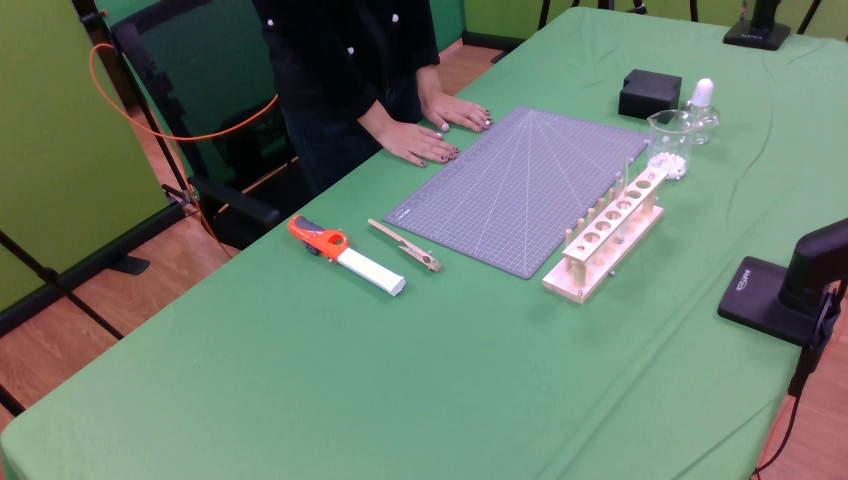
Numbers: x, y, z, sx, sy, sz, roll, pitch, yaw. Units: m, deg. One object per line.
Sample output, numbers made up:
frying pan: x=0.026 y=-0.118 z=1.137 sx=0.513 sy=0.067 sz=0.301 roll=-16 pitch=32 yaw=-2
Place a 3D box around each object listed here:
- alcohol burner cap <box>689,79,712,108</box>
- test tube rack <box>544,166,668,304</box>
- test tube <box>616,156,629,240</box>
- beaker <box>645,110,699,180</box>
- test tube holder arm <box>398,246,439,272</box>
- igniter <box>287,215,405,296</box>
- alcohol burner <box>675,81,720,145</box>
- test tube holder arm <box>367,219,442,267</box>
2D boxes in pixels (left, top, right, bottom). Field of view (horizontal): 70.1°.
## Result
alcohol burner cap: x=0.492 y=-0.262 z=1.071 sx=0.034 sy=0.048 sz=0.033 roll=-2 pitch=45 yaw=2
test tube rack: x=0.274 y=-0.018 z=0.903 sx=0.066 sy=0.085 sz=0.243 roll=26 pitch=51 yaw=35
test tube: x=0.284 y=-0.057 z=0.869 sx=0.017 sy=0.151 sz=0.017 roll=-8 pitch=42 yaw=8
beaker: x=0.417 y=-0.160 z=1.033 sx=0.083 sy=0.101 sz=0.074 roll=25 pitch=51 yaw=34
test tube holder arm: x=-0.009 y=0.027 z=0.956 sx=0.087 sy=0.015 sz=0.010 roll=34 pitch=89 yaw=40
igniter: x=-0.137 y=0.019 z=0.980 sx=0.274 sy=0.025 sz=0.057 roll=28 pitch=62 yaw=36
alcohol burner: x=0.497 y=-0.234 z=1.094 sx=0.078 sy=0.119 sz=0.077 roll=-5 pitch=43 yaw=5
test tube holder arm: x=-0.035 y=0.003 z=0.985 sx=0.177 sy=0.015 sz=0.013 roll=32 pitch=88 yaw=40
